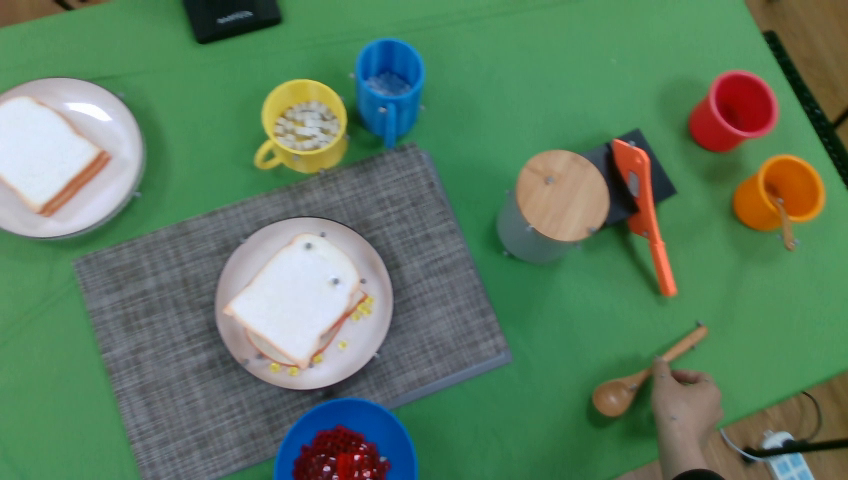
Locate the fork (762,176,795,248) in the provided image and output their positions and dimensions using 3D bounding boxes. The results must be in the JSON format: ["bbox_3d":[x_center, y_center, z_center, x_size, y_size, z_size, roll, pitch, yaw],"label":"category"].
[{"bbox_3d":[0.450,-0.038,0.766,0.028,0.018,0.206,43,31,-1],"label":"fork"}]

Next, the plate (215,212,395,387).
[{"bbox_3d":[-0.140,0.070,0.727,0.209,0.038,0.208,2,76,-6],"label":"plate"}]

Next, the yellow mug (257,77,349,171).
[{"bbox_3d":[-0.157,-0.136,0.766,0.131,0.064,0.099,-41,83,-13],"label":"yellow mug"}]

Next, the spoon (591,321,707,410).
[{"bbox_3d":[0.290,0.155,0.766,0.194,0.022,0.041,-30,63,-13],"label":"spoon"}]

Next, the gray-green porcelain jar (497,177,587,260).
[{"bbox_3d":[0.150,-0.036,0.744,0.106,0.127,0.105,2,76,-6],"label":"gray-green porcelain jar"}]

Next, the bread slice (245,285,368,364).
[{"bbox_3d":[-0.146,0.082,0.726,0.105,0.019,0.131,35,73,4],"label":"bread slice"}]

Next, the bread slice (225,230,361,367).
[{"bbox_3d":[-0.137,0.055,0.670,0.107,0.018,0.134,35,68,-4],"label":"bread slice"}]

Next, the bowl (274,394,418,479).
[{"bbox_3d":[-0.085,0.247,0.673,0.151,0.077,0.150,2,76,-6],"label":"bowl"}]

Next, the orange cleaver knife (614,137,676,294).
[{"bbox_3d":[0.283,-0.031,0.781,0.012,0.076,0.212,-22,106,-11],"label":"orange cleaver knife"}]

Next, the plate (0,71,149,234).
[{"bbox_3d":[-0.442,-0.104,0.740,0.208,0.039,0.206,2,76,-6],"label":"plate"}]

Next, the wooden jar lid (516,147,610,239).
[{"bbox_3d":[0.156,-0.052,0.684,0.108,0.021,0.108,2,78,-9],"label":"wooden jar lid"}]

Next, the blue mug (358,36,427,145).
[{"bbox_3d":[-0.042,-0.179,0.769,0.082,0.106,0.116,0,76,-6],"label":"blue mug"}]
